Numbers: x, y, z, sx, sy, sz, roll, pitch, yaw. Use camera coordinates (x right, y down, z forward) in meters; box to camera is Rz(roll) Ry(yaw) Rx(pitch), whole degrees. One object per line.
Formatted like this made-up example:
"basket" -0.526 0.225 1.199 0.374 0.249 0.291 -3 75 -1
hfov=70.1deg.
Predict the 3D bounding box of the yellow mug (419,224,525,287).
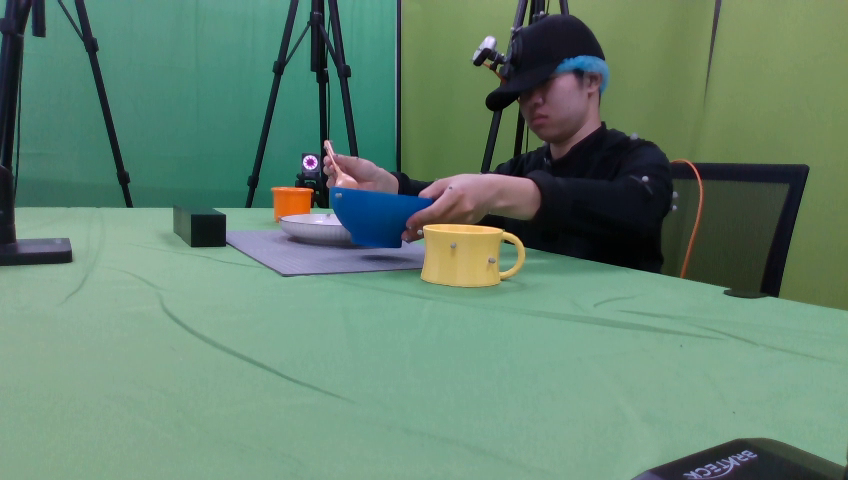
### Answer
"yellow mug" 0.060 0.018 0.746 0.131 0.064 0.100 3 7 -7

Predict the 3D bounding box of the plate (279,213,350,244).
"plate" -0.147 -0.020 1.060 0.209 0.038 0.209 3 7 0

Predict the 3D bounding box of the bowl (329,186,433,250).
"bowl" -0.066 -0.030 0.870 0.151 0.077 0.151 8 5 0

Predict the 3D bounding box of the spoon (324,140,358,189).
"spoon" -0.161 -0.132 1.109 0.042 0.021 0.193 -12 39 -16
